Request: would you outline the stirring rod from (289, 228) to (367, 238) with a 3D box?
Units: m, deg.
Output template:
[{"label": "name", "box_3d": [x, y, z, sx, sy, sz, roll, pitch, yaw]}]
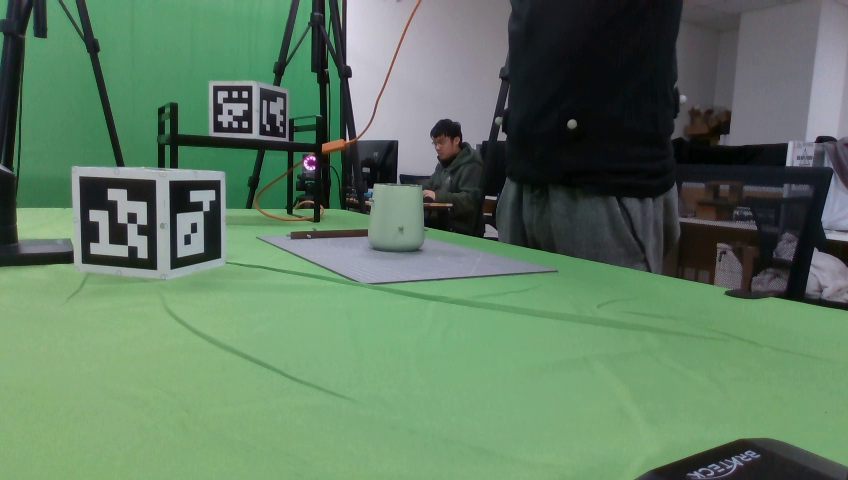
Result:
[{"label": "stirring rod", "box_3d": [-0.161, -0.013, 1.092, 0.177, 0.014, 0.006, -3, 3, -36]}]

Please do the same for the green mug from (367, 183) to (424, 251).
[{"label": "green mug", "box_3d": [-0.053, -0.040, 0.989, 0.093, 0.105, 0.124, -2, 8, -29]}]
